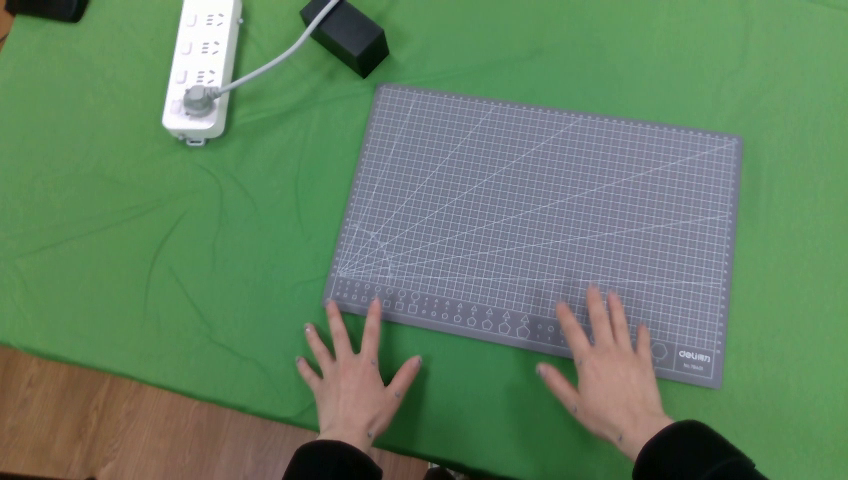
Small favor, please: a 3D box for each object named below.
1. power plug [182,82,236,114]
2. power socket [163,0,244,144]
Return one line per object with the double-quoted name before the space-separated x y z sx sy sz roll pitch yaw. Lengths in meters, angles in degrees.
"power plug" -0.262 -0.169 0.746 0.072 0.053 0.035 12 75 8
"power socket" -0.284 -0.235 0.788 0.072 0.033 0.225 3 75 4
